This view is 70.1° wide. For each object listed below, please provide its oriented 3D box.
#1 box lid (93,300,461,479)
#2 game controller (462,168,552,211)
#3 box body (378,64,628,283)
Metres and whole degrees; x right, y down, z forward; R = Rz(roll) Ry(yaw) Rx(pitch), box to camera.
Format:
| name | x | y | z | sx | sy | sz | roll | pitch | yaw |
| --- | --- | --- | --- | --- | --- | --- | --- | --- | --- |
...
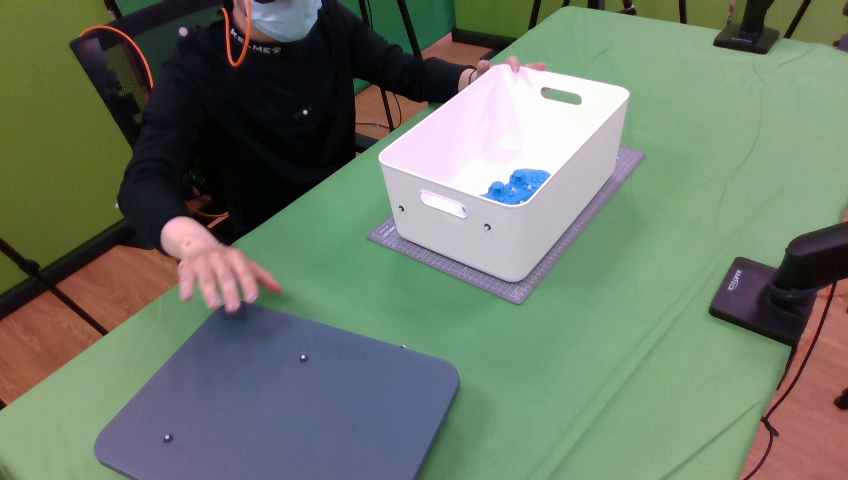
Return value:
| name | x | y | z | sx | sy | sz | roll | pitch | yaw |
| --- | --- | --- | --- | --- | --- | --- | --- | --- | --- |
| box lid | -0.164 | 0.200 | 0.701 | 0.369 | 0.015 | 0.263 | 13 | 45 | 21 |
| game controller | 0.147 | -0.079 | 1.007 | 0.156 | 0.052 | 0.096 | -30 | 50 | -24 |
| box body | 0.137 | -0.121 | 0.978 | 0.252 | 0.161 | 0.365 | 22 | 48 | 30 |
